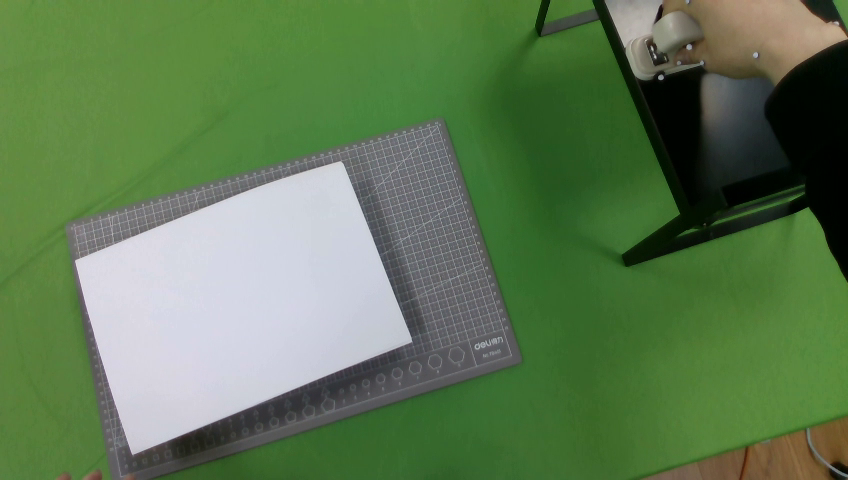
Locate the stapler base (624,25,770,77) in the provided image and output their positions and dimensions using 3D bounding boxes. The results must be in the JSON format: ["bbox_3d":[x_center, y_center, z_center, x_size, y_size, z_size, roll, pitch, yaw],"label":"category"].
[{"bbox_3d":[0.242,-0.179,0.528,0.131,0.024,0.041,-17,85,-5],"label":"stapler base"}]

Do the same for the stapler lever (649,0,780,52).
[{"bbox_3d":[0.244,-0.184,0.504,0.118,0.040,0.027,-17,85,-5],"label":"stapler lever"}]
